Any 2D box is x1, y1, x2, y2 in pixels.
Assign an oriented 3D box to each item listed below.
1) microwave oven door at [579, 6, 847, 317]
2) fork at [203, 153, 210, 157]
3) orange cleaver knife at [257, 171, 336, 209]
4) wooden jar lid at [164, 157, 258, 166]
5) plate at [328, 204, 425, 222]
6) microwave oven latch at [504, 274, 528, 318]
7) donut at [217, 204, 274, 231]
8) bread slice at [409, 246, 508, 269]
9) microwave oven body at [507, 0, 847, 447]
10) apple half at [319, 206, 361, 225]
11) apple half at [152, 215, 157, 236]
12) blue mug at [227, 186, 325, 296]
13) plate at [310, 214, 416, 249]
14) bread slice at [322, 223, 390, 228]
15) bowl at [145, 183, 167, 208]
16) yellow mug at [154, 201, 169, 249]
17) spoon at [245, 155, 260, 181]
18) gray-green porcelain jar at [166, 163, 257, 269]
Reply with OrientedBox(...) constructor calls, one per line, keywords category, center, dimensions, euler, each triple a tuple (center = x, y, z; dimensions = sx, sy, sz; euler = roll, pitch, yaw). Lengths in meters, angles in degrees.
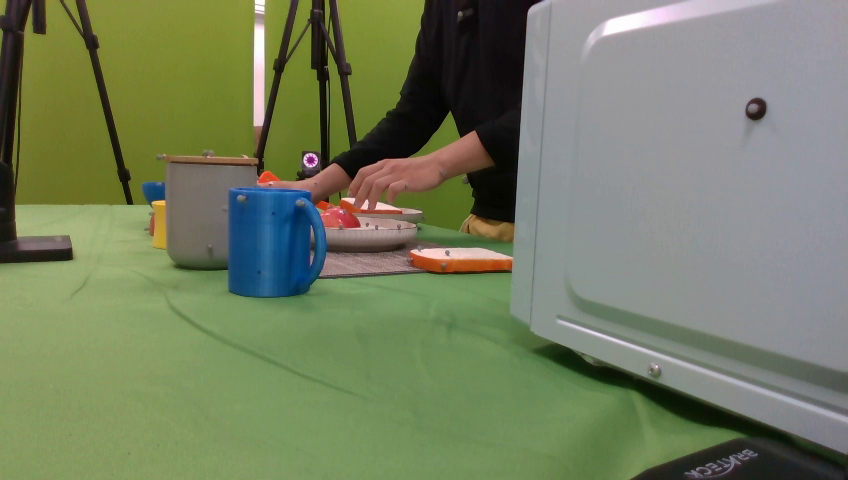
OrientedBox(category="microwave oven door", center=(0.294, -0.067, 0.570), dimensions=(0.358, 0.243, 0.039), euler=(-3, 9, -31))
OrientedBox(category="fork", center=(-0.480, -0.135, 1.411), dimensions=(0.028, 0.018, 0.207), euler=(1, -34, -1))
OrientedBox(category="orange cleaver knife", center=(-0.283, -0.087, 1.343), dimensions=(0.212, 0.077, 0.012), euler=(24, -16, -41))
OrientedBox(category="wooden jar lid", center=(-0.261, -0.093, 0.746), dimensions=(0.108, 0.020, 0.108), euler=(1, 9, 0))
OrientedBox(category="plate", center=(-0.102, -0.053, 1.299), dimensions=(0.209, 0.038, 0.209), euler=(2, 7, 0))
OrientedBox(category="microwave oven latch", center=(0.100, 0.041, 0.471), dimensions=(0.079, 0.029, 0.030), euler=(-1, 7, -28))
OrientedBox(category="donut", center=(-0.317, -0.039, 1.080), dimensions=(0.099, 0.048, 0.099), euler=(2, 7, 0))
OrientedBox(category="bread slice", center=(0.048, 0.022, 0.816), dimensions=(0.132, 0.019, 0.104), euler=(0, 7, -24))
OrientedBox(category="microwave oven body", center=(0.331, -0.042, 0.425), dimensions=(0.444, 0.260, 0.324), euler=(-2, 8, -31))
OrientedBox(category="apple half", center=(-0.142, -0.041, 1.002), dimensions=(0.081, 0.033, 0.081), euler=(0, 7, 0))
OrientedBox(category="apple half", center=(-0.415, -0.034, 1.017), dimensions=(0.081, 0.053, 0.074), euler=(1, 10, -9))
OrientedBox(category="blue mug", center=(-0.147, 0.000, 0.618), dimensions=(0.116, 0.106, 0.083), euler=(7, 9, 32))
OrientedBox(category="plate", center=(-0.116, -0.014, 0.967), dimensions=(0.208, 0.039, 0.207), euler=(2, 8, 0))
OrientedBox(category="bread slice", center=(-0.116, -0.016, 0.974), dimensions=(0.135, 0.018, 0.106), euler=(-1, 7, -43))
OrientedBox(category="bowl", center=(-0.459, -0.069, 1.175), dimensions=(0.151, 0.077, 0.151), euler=(3, 7, 0))
OrientedBox(category="yellow mug", center=(-0.337, -0.022, 0.899), dimensions=(0.130, 0.064, 0.100), euler=(8, 9, 34))
OrientedBox(category="spoon", center=(-0.421, -0.150, 1.540), dimensions=(0.042, 0.021, 0.193), euler=(-5, 55, -37))
OrientedBox(category="gray-green porcelain jar", center=(-0.263, -0.031, 0.754), dimensions=(0.106, 0.126, 0.106), euler=(2, 7, 0))
